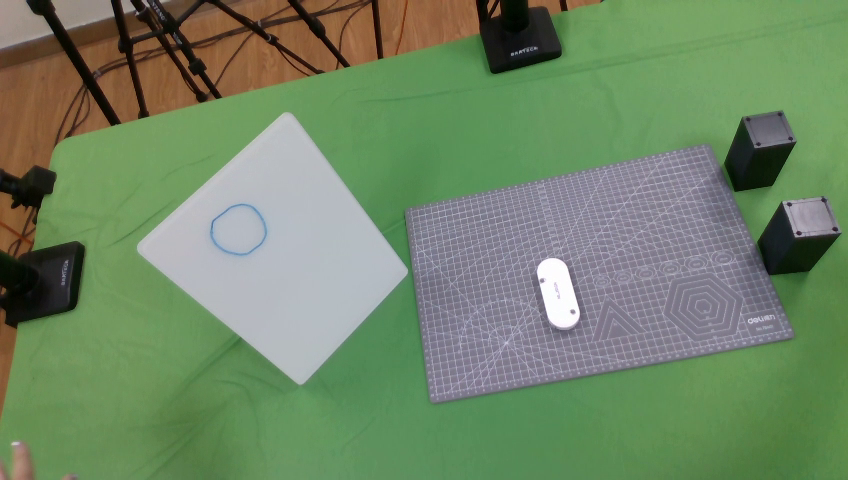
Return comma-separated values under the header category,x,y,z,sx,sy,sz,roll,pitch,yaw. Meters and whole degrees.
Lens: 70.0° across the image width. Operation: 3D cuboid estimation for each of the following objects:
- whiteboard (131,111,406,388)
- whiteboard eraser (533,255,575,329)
category,x,y,z,sx,sy,sz,roll,pitch,yaw
whiteboard,-0.201,0.004,0.782,0.217,0.309,0.142,-47,43,-13
whiteboard eraser,0.171,0.067,0.797,0.041,0.019,0.100,-12,62,5
